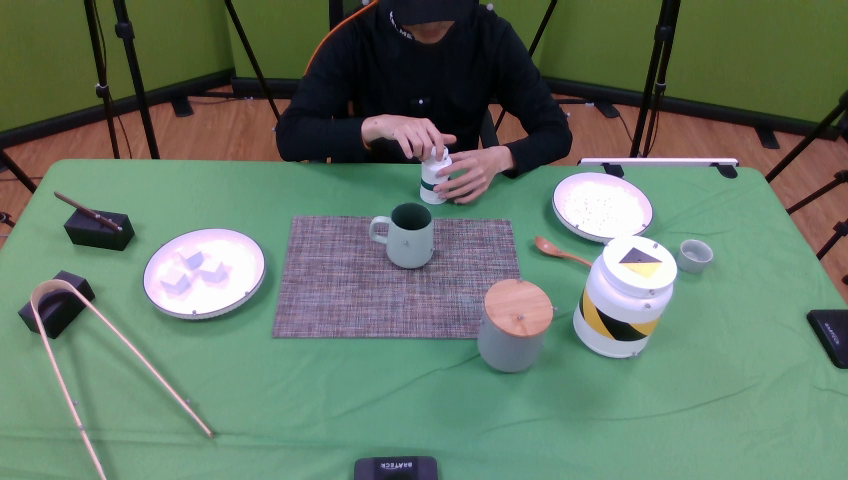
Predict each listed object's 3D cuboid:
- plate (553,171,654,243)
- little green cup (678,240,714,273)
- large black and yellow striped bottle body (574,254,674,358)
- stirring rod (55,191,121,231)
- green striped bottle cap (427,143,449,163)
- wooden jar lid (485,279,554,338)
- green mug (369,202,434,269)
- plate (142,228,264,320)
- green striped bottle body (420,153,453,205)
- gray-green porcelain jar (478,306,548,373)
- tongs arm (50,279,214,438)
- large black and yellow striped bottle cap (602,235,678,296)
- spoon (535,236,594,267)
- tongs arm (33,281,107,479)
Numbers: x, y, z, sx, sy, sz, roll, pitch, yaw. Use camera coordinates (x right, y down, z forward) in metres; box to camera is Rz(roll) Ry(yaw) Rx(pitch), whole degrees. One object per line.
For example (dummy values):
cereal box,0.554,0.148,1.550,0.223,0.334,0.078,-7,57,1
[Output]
plate,0.373,-0.066,1.275,0.209,0.038,0.208,2,46,-2
little green cup,0.530,0.033,1.190,0.061,0.039,0.061,2,46,-1
large black and yellow striped bottle body,0.335,0.096,1.014,0.131,0.185,0.130,2,46,-2
stirring rod,-0.632,-0.055,1.138,0.175,0.014,0.006,24,50,19
green striped bottle cap,0.029,-0.176,1.223,0.044,0.020,0.044,0,46,0
wooden jar lid,0.147,0.108,0.940,0.108,0.021,0.107,4,47,-4
green mug,-0.042,-0.010,1.140,0.125,0.105,0.092,7,47,4
plate,-0.394,0.064,1.095,0.208,0.039,0.206,2,46,-2
green striped bottle body,0.025,-0.137,1.262,0.063,0.120,0.063,3,45,-2
gray-green porcelain jar,0.144,0.148,0.989,0.106,0.127,0.105,2,50,-2
tongs arm,-0.459,0.178,0.949,0.386,0.028,0.028,37,60,17
large black and yellow striped bottle cap,0.340,0.037,0.955,0.115,0.019,0.114,2,47,-1
spoon,0.303,0.040,1.178,0.193,0.022,0.041,25,30,19
tongs arm,-0.517,0.214,0.910,0.051,0.026,0.383,-28,63,-27
